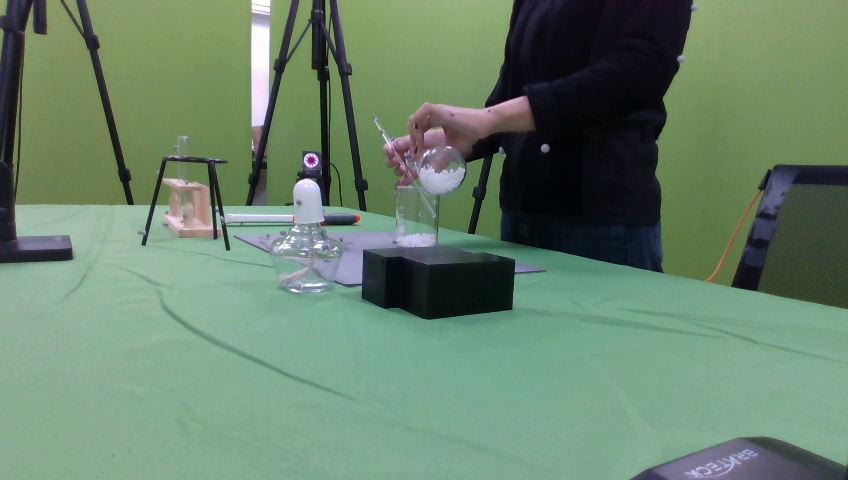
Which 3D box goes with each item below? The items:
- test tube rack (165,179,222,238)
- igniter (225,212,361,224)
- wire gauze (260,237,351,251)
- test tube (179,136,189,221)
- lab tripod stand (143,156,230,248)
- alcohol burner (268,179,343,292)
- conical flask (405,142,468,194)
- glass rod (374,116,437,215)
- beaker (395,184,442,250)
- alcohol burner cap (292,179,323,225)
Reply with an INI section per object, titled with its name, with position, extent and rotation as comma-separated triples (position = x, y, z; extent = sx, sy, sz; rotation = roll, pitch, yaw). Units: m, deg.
[test tube rack]
position = -0.423, -0.062, 1.098
extent = 0.067, 0.085, 0.241
rotation = -2, 9, -28
[igniter]
position = -0.262, -0.044, 1.240
extent = 0.278, 0.025, 0.057
rotation = -2, -1, -31
[wire gauze]
position = -0.185, 0.004, 0.938
extent = 0.122, 0.011, 0.124
rotation = -1, 5, -24
[test tube]
position = -0.425, -0.108, 1.070
extent = 0.017, 0.150, 0.017
rotation = 4, 9, 0
[lab tripod stand]
position = -0.338, -0.058, 0.908
extent = 0.148, 0.131, 0.148
rotation = 4, 7, 0
[alcohol burner]
position = -0.124, -0.005, 0.637
extent = 0.078, 0.119, 0.078
rotation = 4, 8, 0
[conical flask]
position = 0.009, -0.116, 0.909
extent = 0.075, 0.075, 0.121
rotation = -1, 16, -22
[glass rod]
position = -0.032, -0.122, 0.971
extent = 0.008, 0.199, 0.008
rotation = -29, -16, -9
[beaker]
position = -0.009, -0.038, 0.968
extent = 0.074, 0.100, 0.084
rotation = 6, 8, 21
[alcohol burner cap]
position = -0.124, -0.040, 0.632
extent = 0.034, 0.048, 0.034
rotation = -3, 10, 1
